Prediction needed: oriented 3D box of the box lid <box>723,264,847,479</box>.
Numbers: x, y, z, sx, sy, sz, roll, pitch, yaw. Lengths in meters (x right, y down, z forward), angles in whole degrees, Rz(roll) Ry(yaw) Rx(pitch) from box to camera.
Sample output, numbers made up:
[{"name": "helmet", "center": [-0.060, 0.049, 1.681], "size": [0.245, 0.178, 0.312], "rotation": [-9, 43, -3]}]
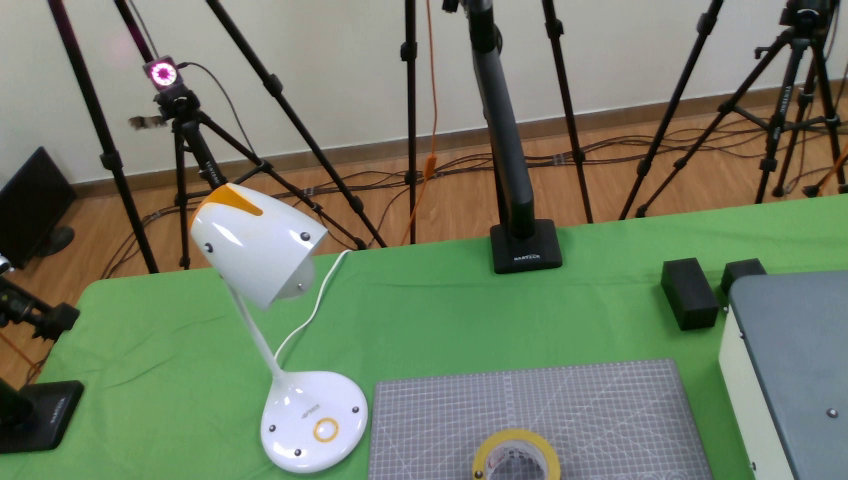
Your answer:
[{"name": "box lid", "center": [0.506, 0.164, 0.653], "size": [0.263, 0.015, 0.368], "rotation": [-5, 45, 8]}]

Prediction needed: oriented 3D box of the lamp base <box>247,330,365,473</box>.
[{"name": "lamp base", "center": [-0.188, 0.212, 0.854], "size": [0.177, 0.182, 0.160], "rotation": [24, 55, 34]}]

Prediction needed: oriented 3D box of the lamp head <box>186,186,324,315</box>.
[{"name": "lamp head", "center": [-0.185, 0.003, 0.638], "size": [0.123, 0.113, 0.112], "rotation": [34, 54, -3]}]

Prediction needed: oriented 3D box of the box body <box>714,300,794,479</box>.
[{"name": "box body", "center": [0.517, 0.217, 0.703], "size": [0.254, 0.162, 0.360], "rotation": [-5, 45, 8]}]

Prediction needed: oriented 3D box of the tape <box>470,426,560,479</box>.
[{"name": "tape", "center": [0.117, 0.303, 0.783], "size": [0.117, 0.053, 0.115], "rotation": [-6, 44, 6]}]
